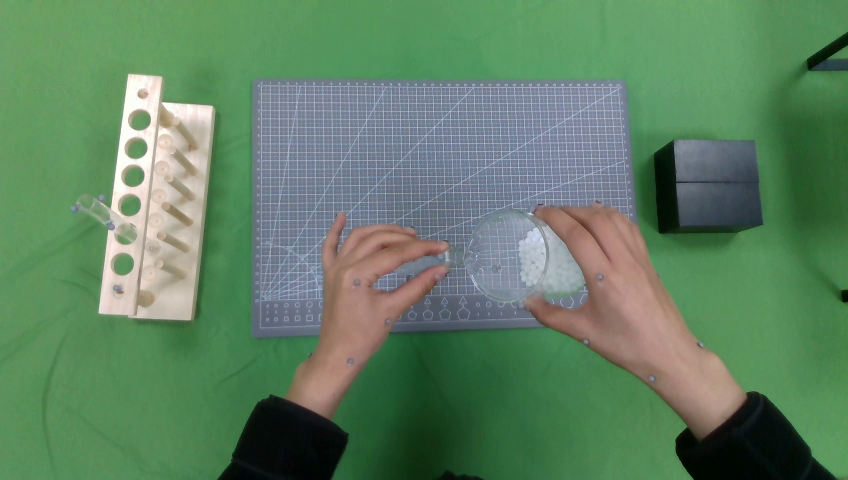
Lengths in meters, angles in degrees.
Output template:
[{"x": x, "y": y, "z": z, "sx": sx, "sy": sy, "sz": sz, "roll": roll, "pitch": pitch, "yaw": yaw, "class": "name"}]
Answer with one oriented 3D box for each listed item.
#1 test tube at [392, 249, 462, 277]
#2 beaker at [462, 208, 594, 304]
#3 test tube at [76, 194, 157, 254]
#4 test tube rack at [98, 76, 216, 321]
[{"x": -0.002, "y": 0.023, "z": 0.569, "sx": 0.017, "sy": 0.150, "sz": 0.017, "roll": 3, "pitch": 83, "yaw": -21, "class": "test tube"}, {"x": 0.091, "y": 0.016, "z": 0.509, "sx": 0.083, "sy": 0.101, "sz": 0.074, "roll": -4, "pitch": 83, "yaw": 37, "class": "beaker"}, {"x": -0.290, "y": -0.012, "z": 0.583, "sx": 0.017, "sy": 0.151, "sz": 0.017, "roll": 1, "pitch": 74, "yaw": -3, "class": "test tube"}, {"x": -0.276, "y": -0.039, "z": 0.638, "sx": 0.067, "sy": 0.085, "sz": 0.241, "roll": 3, "pitch": 81, "yaw": -4, "class": "test tube rack"}]
